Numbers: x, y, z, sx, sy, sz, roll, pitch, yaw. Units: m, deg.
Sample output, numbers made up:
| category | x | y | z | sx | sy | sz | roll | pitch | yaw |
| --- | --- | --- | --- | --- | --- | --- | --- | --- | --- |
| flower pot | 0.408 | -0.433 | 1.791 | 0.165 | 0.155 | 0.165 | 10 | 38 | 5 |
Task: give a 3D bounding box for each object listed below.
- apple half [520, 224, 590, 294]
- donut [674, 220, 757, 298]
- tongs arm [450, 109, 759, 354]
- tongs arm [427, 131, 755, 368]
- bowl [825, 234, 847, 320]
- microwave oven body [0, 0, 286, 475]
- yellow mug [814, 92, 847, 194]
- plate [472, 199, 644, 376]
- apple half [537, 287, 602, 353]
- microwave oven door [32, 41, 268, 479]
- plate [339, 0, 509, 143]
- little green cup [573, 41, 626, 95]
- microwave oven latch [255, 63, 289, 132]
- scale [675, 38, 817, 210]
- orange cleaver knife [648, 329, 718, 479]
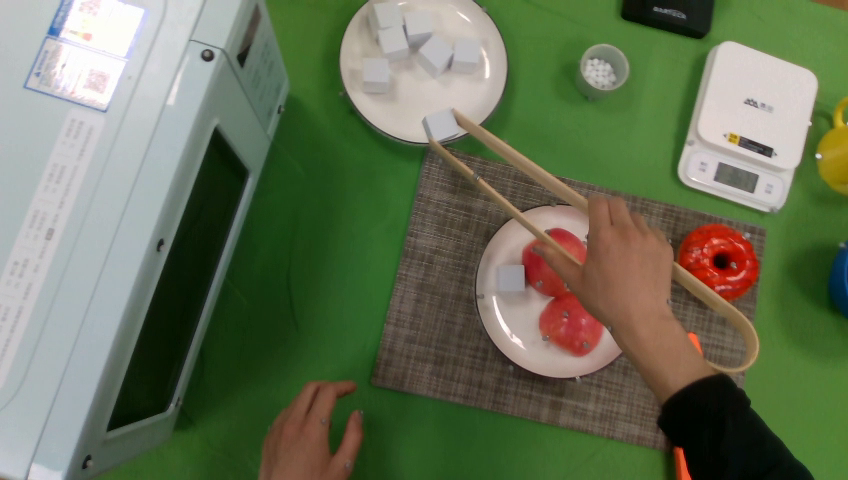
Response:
| category | x | y | z | sx | sy | sz | roll | pitch | yaw |
| --- | --- | --- | --- | --- | --- | --- | --- | --- | --- |
| apple half | 0.158 | 0.019 | 0.716 | 0.081 | 0.053 | 0.074 | -30 | 83 | -10 |
| donut | 0.358 | 0.024 | 0.747 | 0.099 | 0.048 | 0.098 | 1 | 82 | -3 |
| tongs arm | 0.170 | -0.022 | 0.618 | 0.385 | 0.028 | 0.028 | 40 | 73 | 17 |
| tongs arm | 0.153 | -0.004 | 0.613 | 0.051 | 0.027 | 0.382 | -42 | 71 | -12 |
| bowl | 0.560 | 0.050 | 0.751 | 0.151 | 0.077 | 0.151 | 1 | 83 | -5 |
| microwave oven body | -0.364 | -0.058 | 0.578 | 0.326 | 0.260 | 0.440 | 17 | 82 | -3 |
| yellow mug | 0.567 | -0.129 | 0.781 | 0.100 | 0.064 | 0.130 | -19 | 84 | -7 |
| plate | 0.158 | 0.056 | 0.727 | 0.209 | 0.038 | 0.208 | 1 | 82 | -5 |
| apple half | 0.177 | 0.093 | 0.718 | 0.081 | 0.033 | 0.081 | 0 | 83 | -2 |
| microwave oven door | -0.236 | 0.024 | 0.574 | 0.039 | 0.244 | 0.354 | 16 | 81 | -3 |
| plate | 0.000 | -0.218 | 0.752 | 0.208 | 0.039 | 0.207 | 1 | 82 | -5 |
| little green cup | 0.221 | -0.217 | 0.773 | 0.061 | 0.038 | 0.061 | 1 | 82 | -5 |
| microwave oven latch | -0.182 | -0.170 | 0.709 | 0.030 | 0.029 | 0.079 | 19 | 82 | -3 |
| scale | 0.418 | -0.152 | 0.787 | 0.149 | 0.031 | 0.200 | 18 | 81 | -2 |
| orange cleaver knife | 0.318 | 0.215 | 0.731 | 0.077 | 0.012 | 0.210 | -4 | 82 | -11 |
